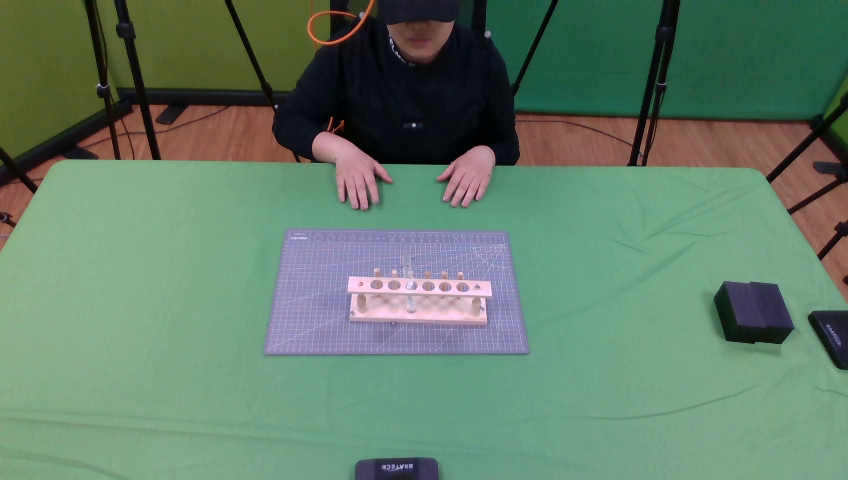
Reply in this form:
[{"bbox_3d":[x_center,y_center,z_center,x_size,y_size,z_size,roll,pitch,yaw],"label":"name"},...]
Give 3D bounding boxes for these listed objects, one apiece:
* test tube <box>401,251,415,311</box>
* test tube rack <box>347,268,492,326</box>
[{"bbox_3d":[-0.026,0.072,1.011,0.017,0.151,0.017,-1,48,2],"label":"test tube"},{"bbox_3d":[-0.009,0.095,1.059,0.242,0.085,0.066,2,46,-2],"label":"test tube rack"}]
